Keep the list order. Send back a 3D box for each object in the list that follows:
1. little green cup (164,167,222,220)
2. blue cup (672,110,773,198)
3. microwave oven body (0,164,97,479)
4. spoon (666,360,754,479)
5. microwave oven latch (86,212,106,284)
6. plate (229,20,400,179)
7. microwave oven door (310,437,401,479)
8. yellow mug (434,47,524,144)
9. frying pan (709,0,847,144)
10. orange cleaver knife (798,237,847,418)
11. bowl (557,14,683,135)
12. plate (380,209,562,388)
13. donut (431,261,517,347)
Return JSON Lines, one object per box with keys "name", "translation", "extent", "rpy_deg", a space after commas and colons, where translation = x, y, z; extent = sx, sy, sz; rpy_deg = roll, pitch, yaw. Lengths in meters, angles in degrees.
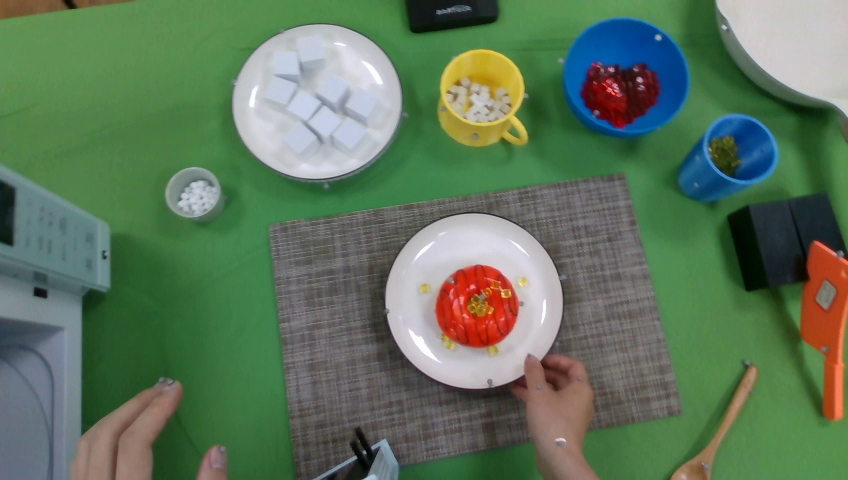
{"name": "little green cup", "translation": [-0.273, -0.053, 0.723], "extent": [0.061, 0.039, 0.061], "rpy_deg": [1, 79, -2]}
{"name": "blue cup", "translation": [0.347, -0.094, 0.725], "extent": [0.093, 0.100, 0.092], "rpy_deg": [1, 76, -2]}
{"name": "microwave oven body", "translation": [-0.505, 0.175, 0.550], "extent": [0.326, 0.261, 0.439], "rpy_deg": [-6, 79, -4]}
{"name": "spoon", "translation": [0.337, 0.219, 0.699], "extent": [0.041, 0.022, 0.193], "rpy_deg": [33, 78, 17]}
{"name": "microwave oven latch", "translation": [-0.379, 0.009, 0.688], "extent": [0.030, 0.029, 0.079], "rpy_deg": [-5, 79, -4]}
{"name": "plate", "translation": [-0.133, -0.172, 0.756], "extent": [0.208, 0.039, 0.206], "rpy_deg": [0, 78, -2]}
{"name": "microwave oven door", "translation": [-0.187, 0.288, 0.534], "extent": [0.356, 0.244, 0.039], "rpy_deg": [-28, 79, -7]}
{"name": "yellow mug", "translation": [0.075, -0.167, 0.749], "extent": [0.130, 0.064, 0.100], "rpy_deg": [43, 80, 6]}
{"name": "frying pan", "translation": [0.516, -0.209, 0.755], "extent": [0.307, 0.103, 0.484], "rpy_deg": [-4, 70, -2]}
{"name": "orange cleaver knife", "translation": [0.459, 0.102, 0.698], "extent": [0.012, 0.076, 0.212], "rpy_deg": [-10, 107, -4]}
{"name": "bowl", "translation": [0.232, -0.192, 0.754], "extent": [0.151, 0.077, 0.150], "rpy_deg": [0, 78, -2]}
{"name": "plate", "translation": [0.054, 0.068, 0.708], "extent": [0.209, 0.038, 0.208], "rpy_deg": [1, 79, -2]}
{"name": "donut", "translation": [0.057, 0.074, 0.696], "extent": [0.099, 0.048, 0.098], "rpy_deg": [0, 82, -1]}
